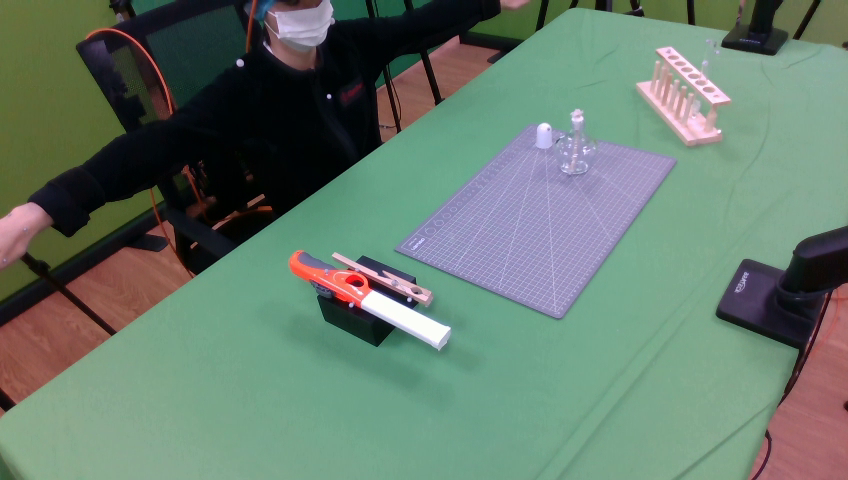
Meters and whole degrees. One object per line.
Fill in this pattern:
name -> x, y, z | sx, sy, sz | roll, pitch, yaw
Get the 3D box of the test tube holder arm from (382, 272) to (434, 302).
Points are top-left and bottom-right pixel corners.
test tube holder arm -> -0.024, 0.065, 0.829 | 0.087, 0.015, 0.010 | 21, 54, 29

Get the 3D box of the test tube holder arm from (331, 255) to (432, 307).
test tube holder arm -> -0.064, 0.055, 0.848 | 0.177, 0.015, 0.013 | 20, 54, 29

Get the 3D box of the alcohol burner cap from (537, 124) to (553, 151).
alcohol burner cap -> 0.232, -0.199, 1.158 | 0.034, 0.048, 0.033 | -5, 40, 5

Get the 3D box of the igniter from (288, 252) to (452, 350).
igniter -> -0.084, 0.077, 0.821 | 0.274, 0.025, 0.057 | 23, 48, 27

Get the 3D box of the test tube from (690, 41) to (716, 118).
test tube -> 0.514, -0.293, 1.117 | 0.017, 0.151, 0.017 | -3, 42, 3

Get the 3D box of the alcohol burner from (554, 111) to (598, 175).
alcohol burner -> 0.270, -0.175, 1.066 | 0.078, 0.119, 0.077 | -4, 42, 4

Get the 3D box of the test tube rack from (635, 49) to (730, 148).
test tube rack -> 0.497, -0.283, 1.185 | 0.067, 0.085, 0.240 | -10, 40, -2
